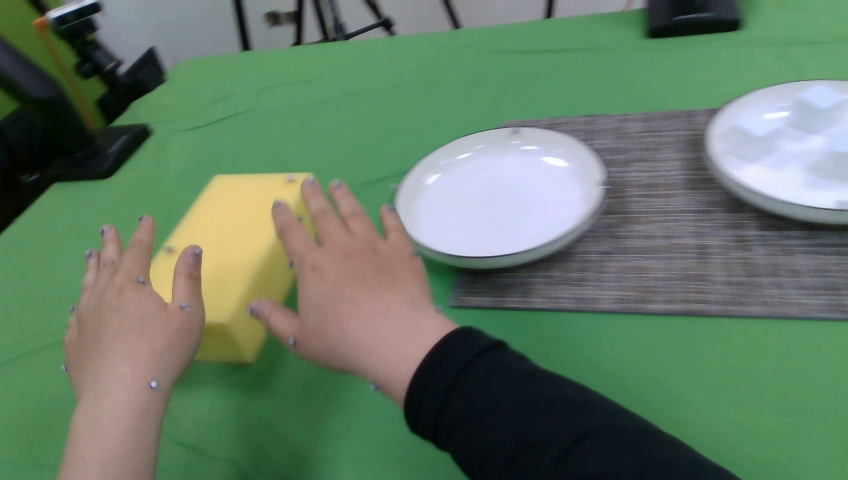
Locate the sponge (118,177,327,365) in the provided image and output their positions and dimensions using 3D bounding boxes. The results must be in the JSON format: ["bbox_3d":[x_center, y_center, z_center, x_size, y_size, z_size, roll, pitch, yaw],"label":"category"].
[{"bbox_3d":[-0.190,0.023,0.609,0.118,0.061,0.205,0,43,15],"label":"sponge"}]

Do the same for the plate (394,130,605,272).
[{"bbox_3d":[0.075,-0.038,0.608,0.209,0.038,0.207,-8,41,8],"label":"plate"}]

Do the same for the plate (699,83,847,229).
[{"bbox_3d":[0.367,-0.076,0.561,0.207,0.039,0.205,-9,41,8],"label":"plate"}]
